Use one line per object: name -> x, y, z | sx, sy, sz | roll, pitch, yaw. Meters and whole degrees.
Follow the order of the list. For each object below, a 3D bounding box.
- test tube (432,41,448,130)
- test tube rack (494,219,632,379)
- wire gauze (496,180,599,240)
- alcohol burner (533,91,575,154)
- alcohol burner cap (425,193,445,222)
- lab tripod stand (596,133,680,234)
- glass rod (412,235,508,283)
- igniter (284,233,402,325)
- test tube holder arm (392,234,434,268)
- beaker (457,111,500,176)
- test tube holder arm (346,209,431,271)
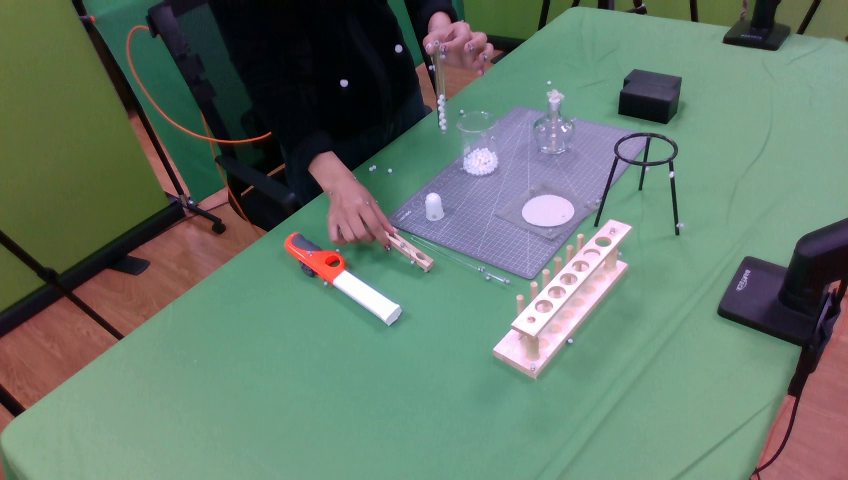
test tube -> 0.026, -0.243, 0.969 | 0.017, 0.151, 0.017 | -4, 39, 4
test tube rack -> 0.191, 0.068, 0.818 | 0.066, 0.085, 0.243 | 25, 51, 35
wire gauze -> 0.206, -0.050, 1.012 | 0.125, 0.011, 0.120 | -34, 45, -26
alcohol burner -> 0.243, -0.222, 1.124 | 0.078, 0.119, 0.077 | -4, 39, 4
alcohol burner cap -> 0.017, -0.058, 1.029 | 0.034, 0.048, 0.033 | -6, 40, 5
lab tripod stand -> 0.338, -0.090, 0.940 | 0.148, 0.132, 0.147 | -7, 39, 6
glass rod -> 0.051, 0.028, 0.951 | 0.198, 0.008, 0.008 | 25, 51, 37
igniter -> -0.136, 0.054, 0.942 | 0.274, 0.025, 0.057 | 30, 63, 37
test tube holder arm -> -0.021, 0.018, 0.952 | 0.087, 0.015, 0.010 | 33, 47, 24
beaker -> 0.104, -0.176, 1.108 | 0.073, 0.101, 0.084 | 16, 46, 27
test tube holder arm -> -0.059, -0.002, 0.966 | 0.177, 0.015, 0.013 | 32, 47, 23
